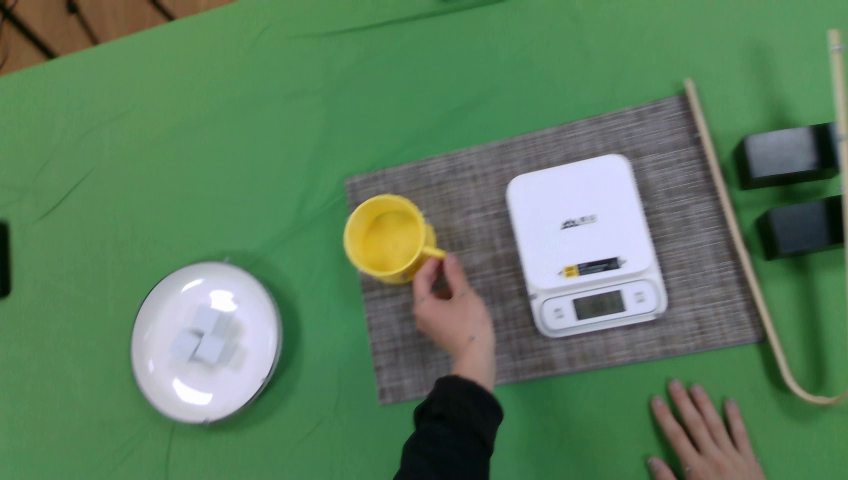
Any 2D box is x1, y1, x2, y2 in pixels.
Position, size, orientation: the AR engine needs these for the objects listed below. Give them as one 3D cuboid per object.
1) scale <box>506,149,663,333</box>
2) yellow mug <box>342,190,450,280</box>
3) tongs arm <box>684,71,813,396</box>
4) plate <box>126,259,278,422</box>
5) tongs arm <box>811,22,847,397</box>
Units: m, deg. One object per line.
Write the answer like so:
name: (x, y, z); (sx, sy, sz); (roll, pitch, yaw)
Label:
scale: (0.186, 0.000, 0.713); (0.148, 0.032, 0.200); (-13, 78, 10)
yellow mug: (-0.029, 0.000, 0.740); (0.130, 0.064, 0.099); (17, 83, 13)
tongs arm: (0.357, -0.017, 0.682); (0.028, 0.028, 0.385); (-21, 74, 32)
plate: (-0.284, 0.129, 0.788); (0.207, 0.039, 0.206); (-2, 79, 11)
tongs arm: (0.418, -0.031, 0.630); (0.050, 0.027, 0.384); (-5, 84, 38)
